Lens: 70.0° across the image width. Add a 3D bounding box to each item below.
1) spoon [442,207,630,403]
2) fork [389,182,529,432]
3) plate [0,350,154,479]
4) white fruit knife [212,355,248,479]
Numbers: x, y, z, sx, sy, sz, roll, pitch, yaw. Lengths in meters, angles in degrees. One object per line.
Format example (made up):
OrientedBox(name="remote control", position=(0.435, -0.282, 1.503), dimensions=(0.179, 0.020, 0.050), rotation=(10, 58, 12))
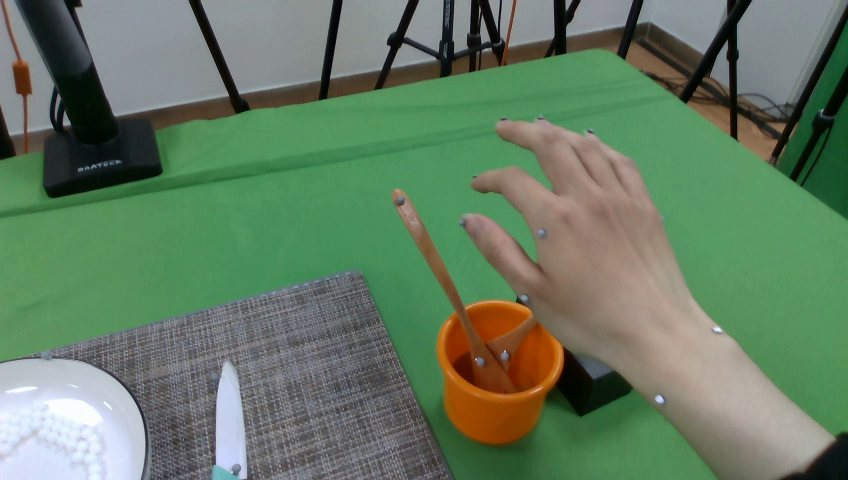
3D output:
OrientedBox(name="spoon", position=(0.084, 0.050, 0.452), dimensions=(0.041, 0.194, 0.021), rotation=(43, 16, 3))
OrientedBox(name="fork", position=(0.024, 0.050, 0.455), dimensions=(0.028, 0.018, 0.207), rotation=(-28, 95, -15))
OrientedBox(name="plate", position=(-0.283, 0.167, 0.395), dimensions=(0.209, 0.038, 0.207), rotation=(1, 43, -1))
OrientedBox(name="white fruit knife", position=(-0.136, 0.162, 0.424), dimensions=(0.027, 0.016, 0.205), rotation=(16, 33, -31))
